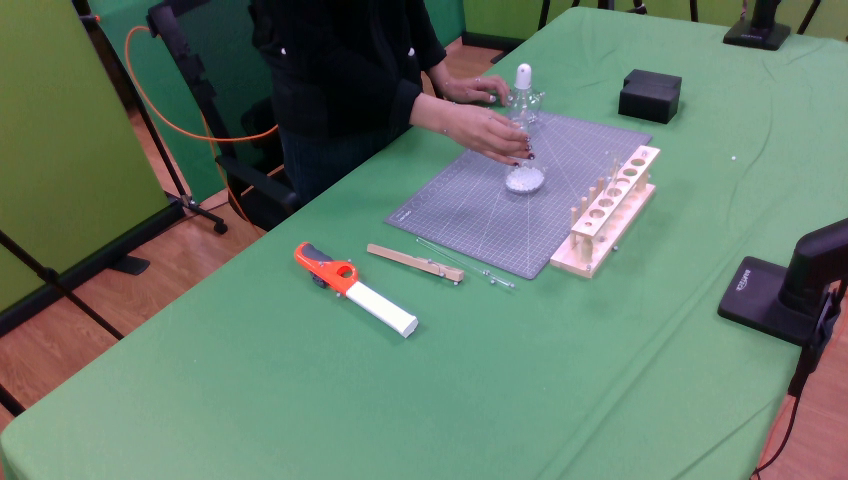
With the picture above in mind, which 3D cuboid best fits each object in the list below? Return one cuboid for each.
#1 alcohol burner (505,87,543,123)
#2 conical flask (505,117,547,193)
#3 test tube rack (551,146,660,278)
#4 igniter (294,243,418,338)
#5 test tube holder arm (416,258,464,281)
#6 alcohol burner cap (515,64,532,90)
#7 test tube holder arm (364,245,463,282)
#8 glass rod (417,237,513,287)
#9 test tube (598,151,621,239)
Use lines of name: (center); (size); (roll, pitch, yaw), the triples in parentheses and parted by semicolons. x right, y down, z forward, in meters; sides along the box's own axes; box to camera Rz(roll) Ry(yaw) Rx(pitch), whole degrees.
alcohol burner: (0.202, -0.298, 1.222); (0.078, 0.119, 0.077); (-4, 40, 4)
conical flask: (0.168, -0.148, 1.031); (0.075, 0.122, 0.075); (-9, 40, 8)
test tube rack: (0.286, -0.053, 0.944); (0.066, 0.085, 0.243); (21, 49, 32)
igniter: (-0.114, 0.070, 0.919); (0.274, 0.025, 0.057); (29, 63, 37)
test tube holder arm: (0.022, 0.045, 0.931); (0.087, 0.015, 0.010); (16, 10, 28)
alcohol burner cap: (0.199, -0.324, 1.198); (0.034, 0.048, 0.033); (0, 46, 1)
test tube holder arm: (-0.020, 0.035, 0.947); (0.177, 0.015, 0.013); (16, 10, 26)
glass rod: (0.059, 0.033, 0.945); (0.198, 0.008, 0.008); (26, 52, 38)
test tube: (0.269, -0.062, 0.880); (0.017, 0.151, 0.017); (-3, 39, 3)
